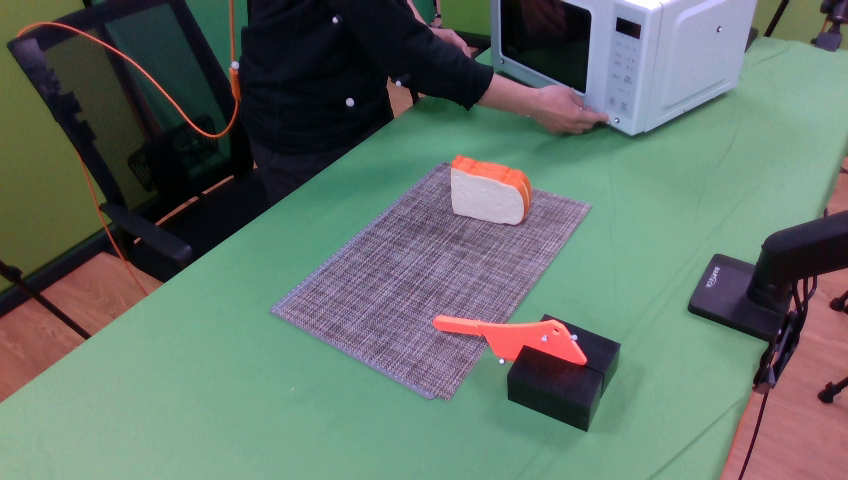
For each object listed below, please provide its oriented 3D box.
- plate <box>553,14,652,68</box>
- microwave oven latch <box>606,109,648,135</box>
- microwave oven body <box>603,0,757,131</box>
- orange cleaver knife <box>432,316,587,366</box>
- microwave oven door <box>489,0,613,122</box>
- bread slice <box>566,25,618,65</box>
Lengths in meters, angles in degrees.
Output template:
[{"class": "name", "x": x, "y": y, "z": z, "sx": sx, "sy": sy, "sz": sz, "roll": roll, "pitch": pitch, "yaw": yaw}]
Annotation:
[{"class": "plate", "x": 0.384, "y": -0.427, "z": 1.313, "sx": 0.207, "sy": 0.039, "sz": 0.206, "roll": -3, "pitch": 45, "yaw": 3}, {"class": "microwave oven latch", "x": 0.380, "y": -0.226, "z": 1.139, "sx": 0.030, "sy": 0.029, "sz": 0.078, "roll": -25, "pitch": 43, "yaw": -18}, {"class": "microwave oven body", "x": 0.397, "y": -0.449, "z": 1.249, "sx": 0.327, "sy": 0.261, "sz": 0.437, "roll": -27, "pitch": 44, "yaw": -21}, {"class": "orange cleaver knife", "x": 0.101, "y": 0.126, "z": 0.761, "sx": 0.210, "sy": 0.077, "sz": 0.012, "roll": -1, "pitch": 34, "yaw": 40}, {"class": "microwave oven door", "x": 0.251, "y": -0.412, "z": 1.219, "sx": 0.039, "sy": 0.245, "sz": 0.352, "roll": -27, "pitch": 44, "yaw": -21}, {"class": "bread slice", "x": 0.362, "y": -0.427, "z": 1.325, "sx": 0.107, "sy": 0.018, "sz": 0.133, "roll": 0, "pitch": 52, "yaw": 5}]
